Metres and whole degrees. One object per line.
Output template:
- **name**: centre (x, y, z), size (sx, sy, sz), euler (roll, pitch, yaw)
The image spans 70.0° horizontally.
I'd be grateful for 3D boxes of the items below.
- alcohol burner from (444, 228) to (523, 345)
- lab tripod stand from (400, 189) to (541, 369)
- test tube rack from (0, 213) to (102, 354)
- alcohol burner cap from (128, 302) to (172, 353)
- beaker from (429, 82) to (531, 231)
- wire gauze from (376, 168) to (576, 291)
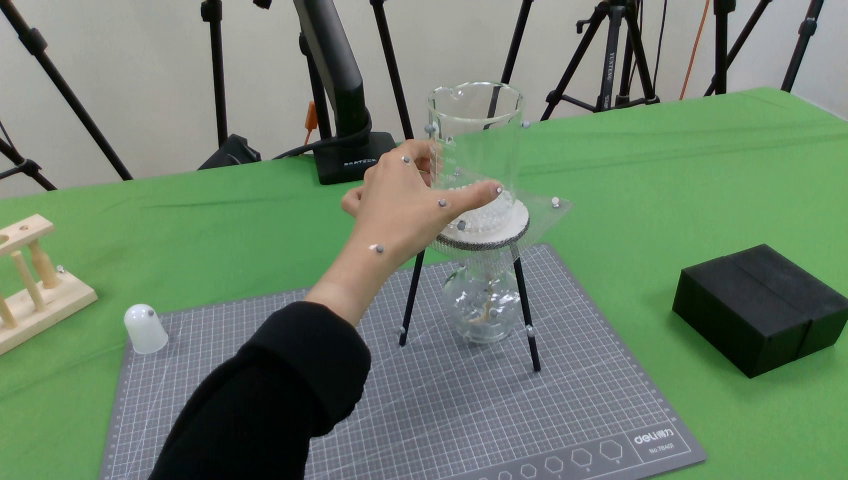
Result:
- **alcohol burner**: centre (0.056, 0.037, 0.550), size (0.078, 0.120, 0.077), euler (-1, 37, 1)
- **lab tripod stand**: centre (0.050, 0.033, 0.538), size (0.148, 0.132, 0.147), euler (0, 35, 0)
- **test tube rack**: centre (-0.442, 0.073, 0.557), size (0.066, 0.086, 0.242), euler (22, 42, 31)
- **alcohol burner cap**: centre (-0.260, 0.080, 0.570), size (0.034, 0.048, 0.033), euler (-1, 35, 1)
- **beaker**: centre (0.040, -0.065, 0.479), size (0.074, 0.101, 0.083), euler (-14, 38, -17)
- **wire gauze**: centre (0.044, -0.019, 0.499), size (0.124, 0.011, 0.121), euler (28, 46, 30)
